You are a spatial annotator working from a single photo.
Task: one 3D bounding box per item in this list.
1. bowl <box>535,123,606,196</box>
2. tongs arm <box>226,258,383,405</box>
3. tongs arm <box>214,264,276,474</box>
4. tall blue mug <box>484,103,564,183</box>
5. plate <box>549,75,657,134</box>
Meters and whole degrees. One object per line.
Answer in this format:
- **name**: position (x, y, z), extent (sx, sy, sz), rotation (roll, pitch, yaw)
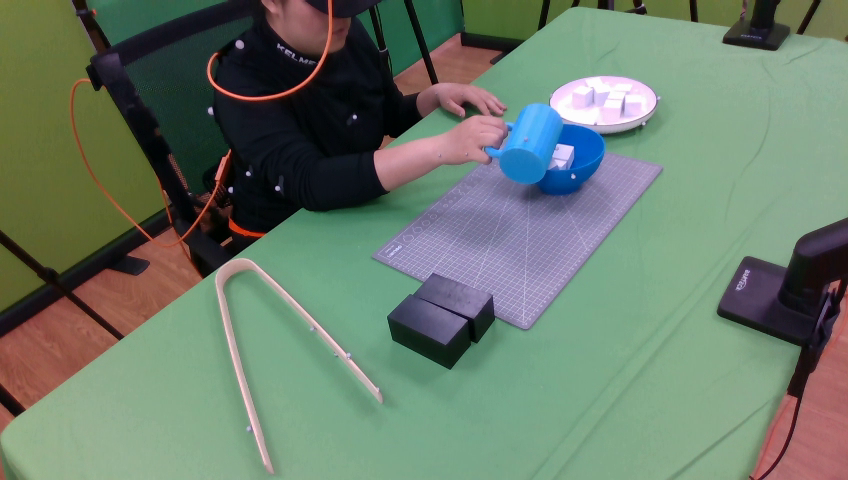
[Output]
- **bowl**: position (0.235, -0.131, 1.045), extent (0.151, 0.077, 0.150), rotation (-5, 40, 5)
- **tongs arm**: position (-0.185, 0.121, 0.863), extent (0.051, 0.027, 0.381), rotation (-34, 45, -20)
- **tongs arm**: position (-0.252, 0.159, 0.838), extent (0.028, 0.028, 0.384), rotation (-27, 43, -8)
- **tall blue mug**: position (0.158, -0.161, 0.961), extent (0.107, 0.078, 0.108), rotation (26, 56, 0)
- **plate**: position (0.357, -0.268, 1.220), extent (0.209, 0.038, 0.208), rotation (-5, 41, 5)
